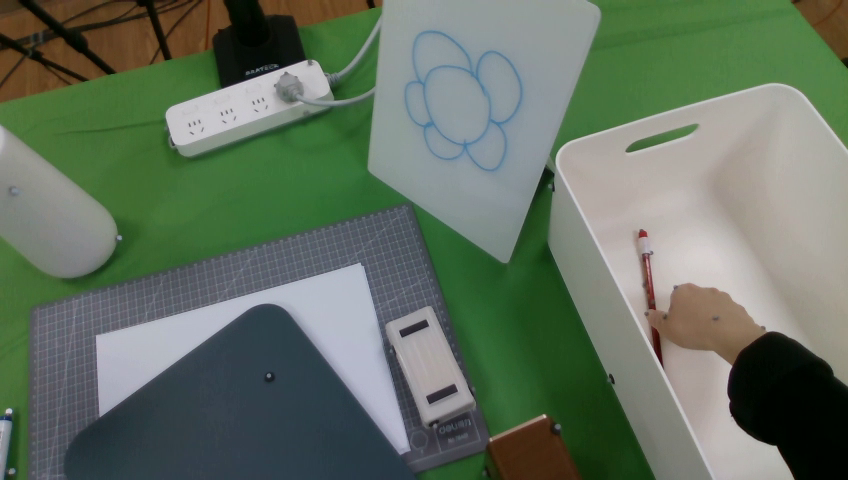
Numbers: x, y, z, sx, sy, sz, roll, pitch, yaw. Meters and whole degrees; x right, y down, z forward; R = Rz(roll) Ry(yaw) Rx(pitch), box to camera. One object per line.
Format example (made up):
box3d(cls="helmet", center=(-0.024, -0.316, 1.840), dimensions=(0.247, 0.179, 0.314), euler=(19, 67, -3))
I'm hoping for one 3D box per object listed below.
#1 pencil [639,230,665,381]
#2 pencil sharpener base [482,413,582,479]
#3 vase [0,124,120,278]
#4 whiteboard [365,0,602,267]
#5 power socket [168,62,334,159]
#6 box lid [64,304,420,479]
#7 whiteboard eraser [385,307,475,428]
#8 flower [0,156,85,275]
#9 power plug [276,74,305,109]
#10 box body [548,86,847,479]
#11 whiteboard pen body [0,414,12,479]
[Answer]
box3d(cls="pencil", center=(0.242, 0.077, 0.640), dimensions=(0.012, 0.012, 0.192), euler=(1, 64, 4))
box3d(cls="pencil sharpener base", center=(0.094, 0.208, 0.530), dimensions=(0.061, 0.108, 0.076), euler=(-21, 63, -8))
box3d(cls="vase", center=(-0.411, -0.037, 0.638), dimensions=(0.098, 0.202, 0.097), euler=(-2, 61, 4))
box3d(cls="whiteboard", center=(0.075, -0.162, 0.651), dimensions=(0.215, 0.308, 0.144), euler=(36, 50, 21))
box3d(cls="power socket", center=(-0.225, -0.171, 0.793), dimensions=(0.227, 0.033, 0.071), euler=(-21, 63, -8))
box3d(cls="box lid", center=(-0.152, 0.255, 0.573), dimensions=(0.263, 0.015, 0.368), euler=(-37, 67, -16))
box3d(cls="whiteboard eraser", center=(0.005, 0.127, 0.612), dimensions=(0.055, 0.042, 0.111), euler=(-21, 63, -10))
box3d(cls="flower", center=(-0.415, -0.093, 0.575), dimensions=(0.038, 0.365, 0.043), euler=(-27, 45, -18))
box3d(cls="power plug", center=(-0.167, -0.177, 0.767), dimensions=(0.035, 0.053, 0.072), euler=(-12, 63, -3))
box3d(cls="box body", center=(0.292, 0.065, 0.563), dimensions=(0.254, 0.162, 0.360), euler=(-17, 62, -6))
box3d(cls="whiteboard pen body", center=(-0.420, 0.239, 0.589), dimensions=(0.017, 0.017, 0.139), euler=(-12, 58, -3))
